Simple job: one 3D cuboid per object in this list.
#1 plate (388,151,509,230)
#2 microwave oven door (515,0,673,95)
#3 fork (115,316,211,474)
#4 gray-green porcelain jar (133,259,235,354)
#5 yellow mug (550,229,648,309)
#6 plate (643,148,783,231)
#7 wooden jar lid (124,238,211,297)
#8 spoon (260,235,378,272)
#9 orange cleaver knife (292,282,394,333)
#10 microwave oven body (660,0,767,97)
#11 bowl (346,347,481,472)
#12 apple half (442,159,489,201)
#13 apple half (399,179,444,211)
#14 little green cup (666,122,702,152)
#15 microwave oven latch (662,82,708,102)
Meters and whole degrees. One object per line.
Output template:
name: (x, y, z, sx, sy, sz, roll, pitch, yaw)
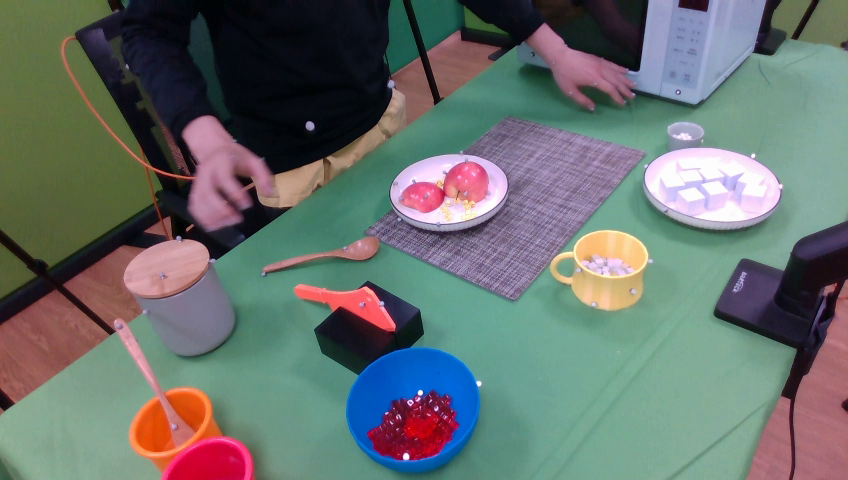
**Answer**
plate: (0.044, -0.082, 1.042, 0.209, 0.038, 0.208, -4, 40, 4)
microwave oven door: (0.344, -0.458, 1.256, 0.353, 0.245, 0.039, 26, 51, 33)
fork: (-0.309, 0.179, 0.708, 0.028, 0.018, 0.207, -30, 89, -24)
gray-green porcelain jar: (-0.328, 0.086, 0.836, 0.106, 0.127, 0.105, -4, 41, 4)
yellow mug: (0.245, 0.040, 0.857, 0.130, 0.064, 0.099, 1, 42, 11)
plate: (0.464, -0.080, 0.986, 0.207, 0.039, 0.206, -4, 41, 4)
wooden jar lid: (-0.334, 0.039, 0.794, 0.108, 0.021, 0.108, -2, 40, 3)
spoon: (-0.167, 0.023, 0.966, 0.194, 0.022, 0.041, -10, 59, -3)
orange cleaver knife: (-0.116, 0.091, 0.835, 0.209, 0.077, 0.012, 2, 31, 48)
microwave oven body: (0.473, -0.516, 1.313, 0.438, 0.261, 0.327, 26, 51, 34)
bowl: (-0.008, 0.205, 0.691, 0.151, 0.077, 0.150, -4, 40, 4)
apple half: (0.074, -0.110, 1.047, 0.080, 0.053, 0.075, 21, 45, 30)
apple half: (-0.004, -0.088, 1.045, 0.081, 0.033, 0.081, -2, 43, 2)
little green cup: (0.471, -0.184, 1.102, 0.061, 0.039, 0.061, -5, 41, 5)
microwave oven latch: (0.518, -0.298, 1.202, 0.078, 0.029, 0.030, 28, 53, 35)
